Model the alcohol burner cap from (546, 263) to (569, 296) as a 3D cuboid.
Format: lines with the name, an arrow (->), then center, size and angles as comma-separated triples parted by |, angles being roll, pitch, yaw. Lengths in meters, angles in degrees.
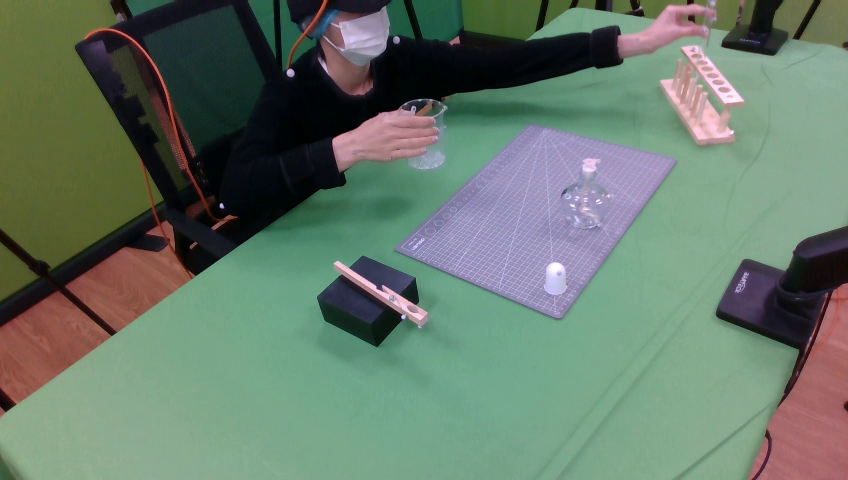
alcohol burner cap -> 0.191, 0.053, 0.862 | 0.034, 0.048, 0.033 | -5, 40, 4

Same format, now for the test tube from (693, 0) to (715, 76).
test tube -> 0.531, -0.382, 1.150 | 0.017, 0.151, 0.017 | -6, 42, 6

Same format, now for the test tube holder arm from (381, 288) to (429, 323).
test tube holder arm -> -0.029, 0.087, 0.807 | 0.087, 0.015, 0.010 | 25, 41, 33

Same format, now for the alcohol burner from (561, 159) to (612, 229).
alcohol burner -> 0.257, -0.077, 0.951 | 0.078, 0.119, 0.077 | -3, 40, 3

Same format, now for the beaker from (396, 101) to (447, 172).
beaker -> 0.001, -0.171, 1.001 | 0.084, 0.100, 0.073 | -13, 37, -8

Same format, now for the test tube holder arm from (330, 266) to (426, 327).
test tube holder arm -> -0.067, 0.074, 0.827 | 0.177, 0.015, 0.013 | 24, 40, 32

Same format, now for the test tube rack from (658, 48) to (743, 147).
test tube rack -> 0.532, -0.284, 1.180 | 0.067, 0.085, 0.241 | -5, 40, 4
